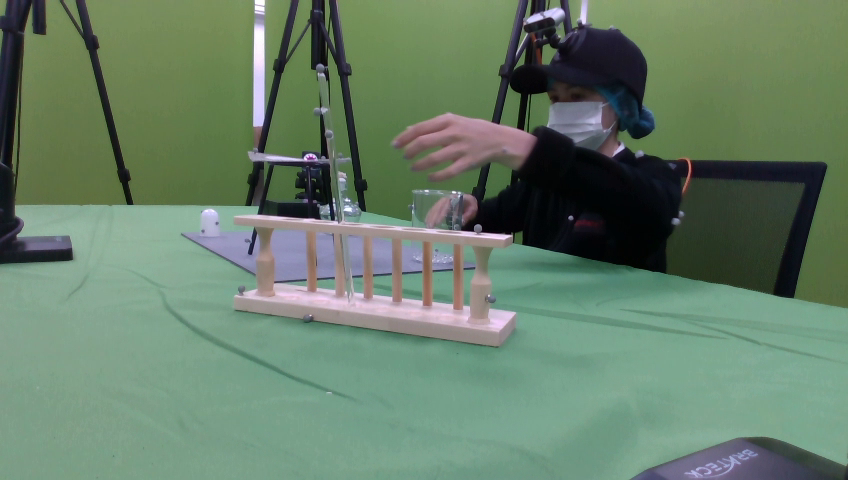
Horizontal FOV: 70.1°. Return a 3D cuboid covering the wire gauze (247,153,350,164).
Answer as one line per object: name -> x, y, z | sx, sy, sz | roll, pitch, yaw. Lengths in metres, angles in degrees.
wire gauze -> -0.170, -0.106, 0.802 | 0.122, 0.011, 0.124 | 1, 8, -20

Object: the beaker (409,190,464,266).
beaker -> 0.018, -0.018, 0.840 | 0.074, 0.100, 0.083 | -3, 10, -35

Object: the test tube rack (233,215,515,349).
test tube rack -> -0.045, 0.029, 0.526 | 0.241, 0.085, 0.067 | 5, 8, 19

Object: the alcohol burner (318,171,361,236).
alcohol burner -> -0.155, -0.067, 1.104 | 0.078, 0.119, 0.078 | 1, 8, 0

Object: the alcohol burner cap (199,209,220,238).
alcohol burner cap -> -0.356, -0.027, 1.002 | 0.034, 0.048, 0.034 | 2, 7, 0

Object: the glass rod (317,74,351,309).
glass rod -> -0.075, -0.036, 0.502 | 0.008, 0.199, 0.008 | -5, 8, 1

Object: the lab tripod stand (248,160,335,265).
lab tripod stand -> -0.165, -0.041, 0.817 | 0.148, 0.131, 0.148 | 5, 7, 0
